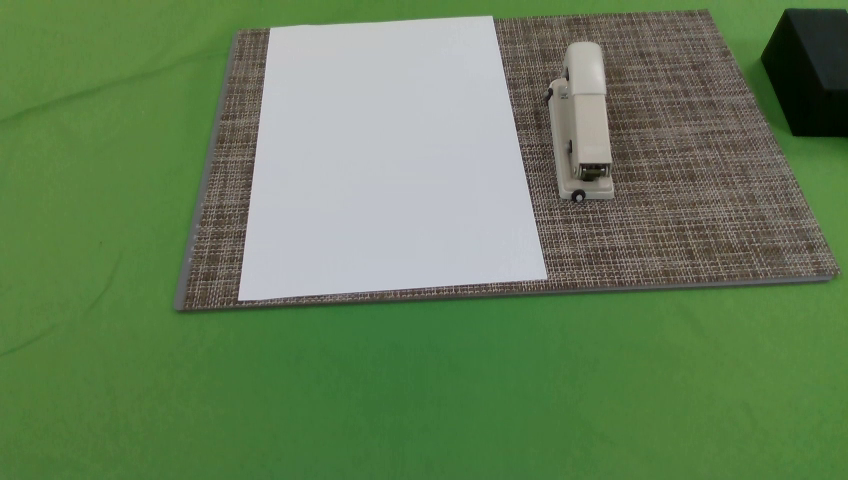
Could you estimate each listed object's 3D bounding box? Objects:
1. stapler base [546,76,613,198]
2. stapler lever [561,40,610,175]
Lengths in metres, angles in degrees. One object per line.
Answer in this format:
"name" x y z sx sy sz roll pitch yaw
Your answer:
"stapler base" 0.123 -0.091 0.482 0.041 0.024 0.129 -1 57 4
"stapler lever" 0.122 -0.103 0.460 0.027 0.040 0.117 -1 56 4
